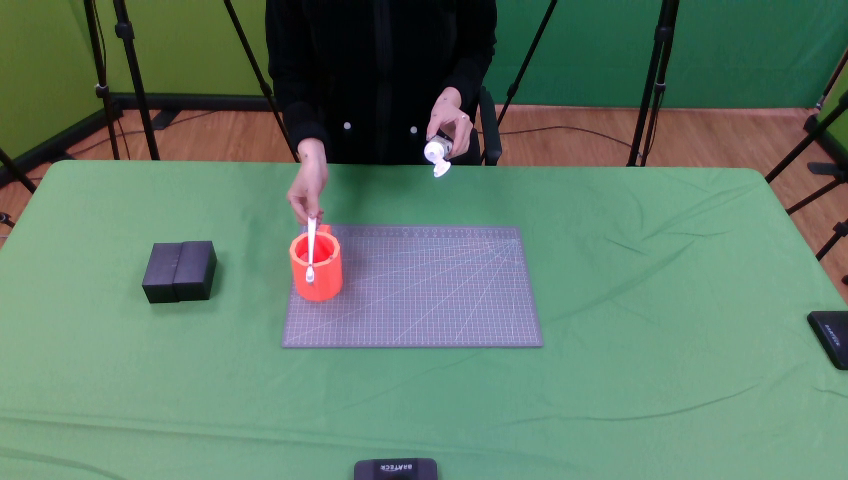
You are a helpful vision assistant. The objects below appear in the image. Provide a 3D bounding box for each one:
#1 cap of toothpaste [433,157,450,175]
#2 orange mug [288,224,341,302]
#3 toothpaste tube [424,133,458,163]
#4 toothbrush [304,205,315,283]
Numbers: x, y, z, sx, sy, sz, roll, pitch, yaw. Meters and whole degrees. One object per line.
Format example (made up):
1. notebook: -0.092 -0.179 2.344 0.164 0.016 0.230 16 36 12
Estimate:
1. cap of toothpaste: 0.027 -0.123 1.006 0.037 0.011 0.037 -34 30 23
2. orange mug: -0.192 0.034 1.094 0.083 0.101 0.125 7 50 2
3. toothpaste tube: 0.029 -0.168 1.084 0.055 0.034 0.164 29 22 -1
4. toothbrush: -0.199 0.001 1.052 0.014 0.017 0.180 -4 46 -5
